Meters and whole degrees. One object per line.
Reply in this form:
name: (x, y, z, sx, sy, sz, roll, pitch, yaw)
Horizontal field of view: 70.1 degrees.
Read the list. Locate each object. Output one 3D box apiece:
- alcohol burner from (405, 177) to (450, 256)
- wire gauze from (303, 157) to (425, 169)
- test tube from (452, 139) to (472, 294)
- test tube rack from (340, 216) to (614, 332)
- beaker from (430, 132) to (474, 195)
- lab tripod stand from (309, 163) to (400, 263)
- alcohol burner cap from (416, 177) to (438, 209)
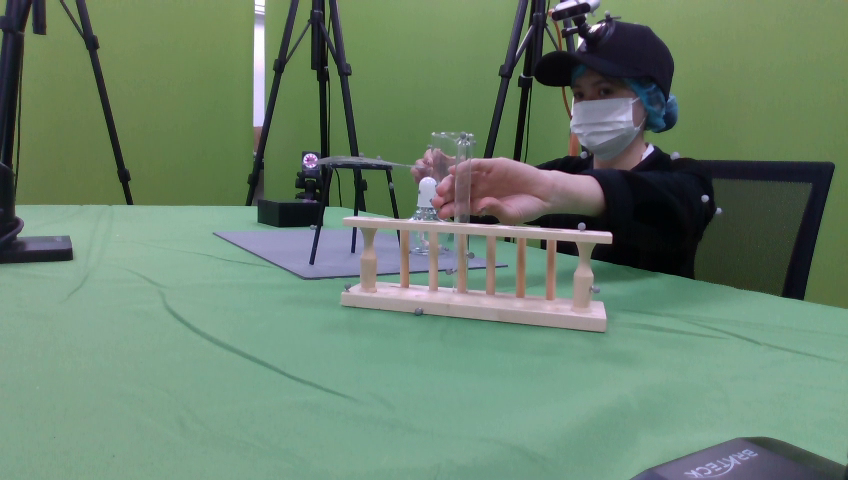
alcohol burner: (0.004, -0.036, 0.917, 0.078, 0.119, 0.078, 3, 6, 0)
wire gauze: (-0.082, -0.102, 0.799, 0.126, 0.011, 0.121, -1, 7, -30)
test tube: (0.037, -0.022, 0.583, 0.017, 0.150, 0.017, 1, 7, 0)
test tube rack: (0.048, 0.026, 0.568, 0.242, 0.085, 0.067, 4, 8, 13)
beaker: (0.047, -0.128, 1.015, 0.074, 0.100, 0.084, -1, 14, -5)
lab tripod stand: (-0.091, -0.037, 0.813, 0.148, 0.131, 0.148, 1, 6, 0)
alcohol burner cap: (0.005, -0.072, 0.914, 0.034, 0.048, 0.034, 3, 10, 0)
